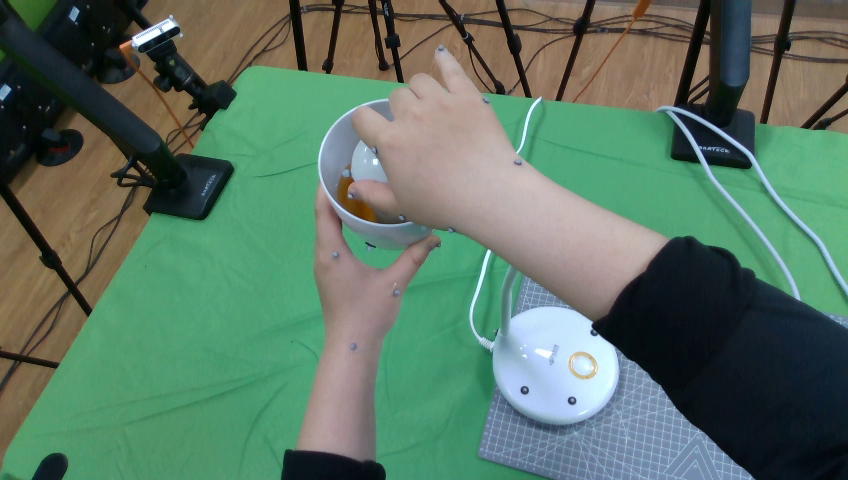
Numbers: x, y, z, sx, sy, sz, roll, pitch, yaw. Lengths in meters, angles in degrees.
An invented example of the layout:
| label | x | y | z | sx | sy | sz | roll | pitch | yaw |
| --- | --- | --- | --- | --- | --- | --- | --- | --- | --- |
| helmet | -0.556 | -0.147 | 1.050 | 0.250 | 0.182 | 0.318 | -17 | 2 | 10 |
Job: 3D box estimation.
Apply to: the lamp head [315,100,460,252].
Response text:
| label | x | y | z | sx | sy | sz | roll | pitch | yaw |
| --- | --- | --- | --- | --- | --- | --- | --- | --- | --- |
| lamp head | -0.023 | -0.038 | 0.510 | 0.112 | 0.124 | 0.111 | -2 | 67 | 4 |

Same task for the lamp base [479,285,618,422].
| label | x | y | z | sx | sy | sz | roll | pitch | yaw |
| --- | --- | --- | --- | --- | --- | --- | --- | --- | --- |
| lamp base | 0.146 | 0.115 | 0.725 | 0.178 | 0.182 | 0.159 | 4 | 58 | 15 |

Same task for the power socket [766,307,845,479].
| label | x | y | z | sx | sy | sz | roll | pitch | yaw |
| --- | --- | --- | --- | --- | --- | --- | --- | --- | --- |
| power socket | 0.453 | 0.181 | 0.726 | 0.072 | 0.033 | 0.225 | 10 | 59 | 13 |

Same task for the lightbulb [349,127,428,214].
| label | x | y | z | sx | sy | sz | roll | pitch | yaw |
| --- | --- | --- | --- | --- | --- | --- | --- | --- | --- |
| lightbulb | -0.027 | -0.048 | 0.479 | 0.059 | 0.108 | 0.059 | 1 | 72 | -2 |
